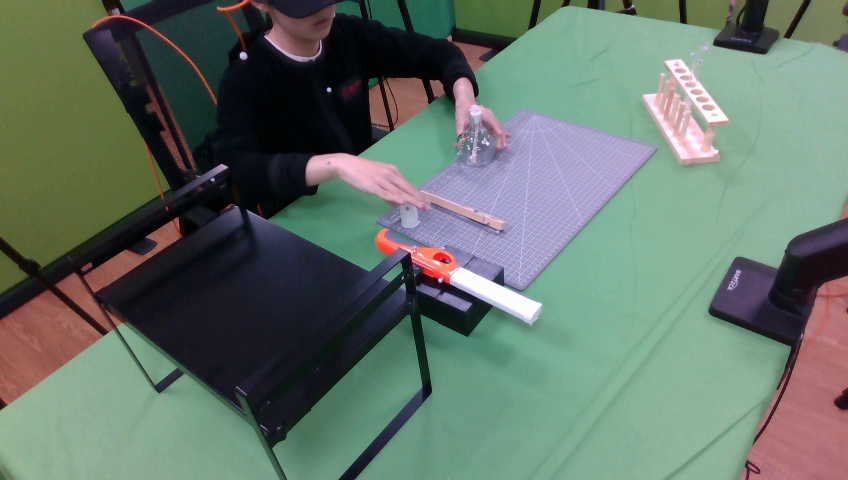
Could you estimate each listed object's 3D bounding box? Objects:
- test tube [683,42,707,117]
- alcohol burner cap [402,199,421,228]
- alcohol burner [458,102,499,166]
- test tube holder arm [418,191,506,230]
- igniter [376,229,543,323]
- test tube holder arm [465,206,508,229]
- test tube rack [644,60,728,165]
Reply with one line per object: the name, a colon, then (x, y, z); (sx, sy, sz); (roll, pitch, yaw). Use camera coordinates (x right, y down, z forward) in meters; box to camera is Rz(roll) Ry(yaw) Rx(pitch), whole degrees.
test tube: (0.497, -0.292, 1.114); (0.017, 0.151, 0.017); (-4, 44, 4)
alcohol burner cap: (-0.022, -0.047, 1.013); (0.034, 0.048, 0.033); (-3, 42, 3)
alcohol burner: (0.100, -0.199, 1.117); (0.078, 0.119, 0.077); (-5, 39, 4)
test tube holder arm: (0.062, -0.052, 1.024); (0.177, 0.015, 0.013); (23, 14, 32)
igniter: (0.038, 0.044, 0.843); (0.274, 0.025, 0.057); (25, 47, 29)
test tube holder arm: (0.100, -0.038, 1.005); (0.087, 0.015, 0.010); (23, 14, 32)
test tube rack: (0.485, -0.246, 1.140); (0.067, 0.085, 0.241); (-5, 41, 4)
